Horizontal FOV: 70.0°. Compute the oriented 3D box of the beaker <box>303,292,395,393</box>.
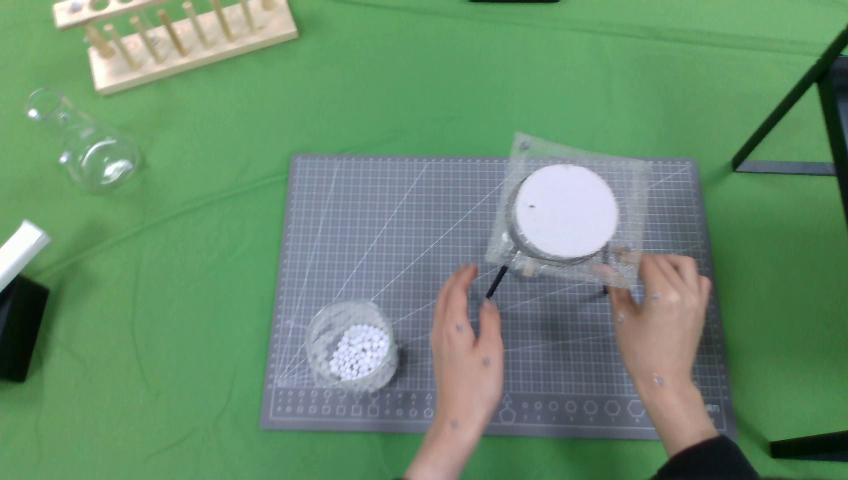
[{"bbox_3d":[-0.065,0.101,0.553,0.073,0.101,0.084,30,73,12],"label":"beaker"}]

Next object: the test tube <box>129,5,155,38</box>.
[{"bbox_3d":[-0.326,-0.278,0.655,0.017,0.151,0.017,0,63,0],"label":"test tube"}]

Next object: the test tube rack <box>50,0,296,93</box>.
[{"bbox_3d":[-0.282,-0.256,0.699,0.242,0.086,0.066,-19,70,-6],"label":"test tube rack"}]

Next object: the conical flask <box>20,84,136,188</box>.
[{"bbox_3d":[-0.361,-0.111,0.627,0.075,0.122,0.075,0,69,1],"label":"conical flask"}]

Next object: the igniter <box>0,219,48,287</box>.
[{"bbox_3d":[-0.457,0.095,0.552,0.057,0.025,0.276,29,71,21],"label":"igniter"}]

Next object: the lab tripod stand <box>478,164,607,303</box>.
[{"bbox_3d":[0.115,-0.001,0.569,0.148,0.132,0.147,0,68,0],"label":"lab tripod stand"}]

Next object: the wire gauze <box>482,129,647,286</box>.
[{"bbox_3d":[0.121,-0.029,0.507,0.121,0.011,0.124,13,71,4],"label":"wire gauze"}]

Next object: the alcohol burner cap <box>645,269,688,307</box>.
[{"bbox_3d":[0.242,0.045,0.598,0.034,0.048,0.033,0,70,1],"label":"alcohol burner cap"}]

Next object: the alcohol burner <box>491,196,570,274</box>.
[{"bbox_3d":[0.105,-0.011,0.583,0.078,0.120,0.077,0,68,0],"label":"alcohol burner"}]

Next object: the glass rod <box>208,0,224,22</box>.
[{"bbox_3d":[-0.259,-0.313,0.649,0.008,0.201,0.008,-3,63,6],"label":"glass rod"}]
